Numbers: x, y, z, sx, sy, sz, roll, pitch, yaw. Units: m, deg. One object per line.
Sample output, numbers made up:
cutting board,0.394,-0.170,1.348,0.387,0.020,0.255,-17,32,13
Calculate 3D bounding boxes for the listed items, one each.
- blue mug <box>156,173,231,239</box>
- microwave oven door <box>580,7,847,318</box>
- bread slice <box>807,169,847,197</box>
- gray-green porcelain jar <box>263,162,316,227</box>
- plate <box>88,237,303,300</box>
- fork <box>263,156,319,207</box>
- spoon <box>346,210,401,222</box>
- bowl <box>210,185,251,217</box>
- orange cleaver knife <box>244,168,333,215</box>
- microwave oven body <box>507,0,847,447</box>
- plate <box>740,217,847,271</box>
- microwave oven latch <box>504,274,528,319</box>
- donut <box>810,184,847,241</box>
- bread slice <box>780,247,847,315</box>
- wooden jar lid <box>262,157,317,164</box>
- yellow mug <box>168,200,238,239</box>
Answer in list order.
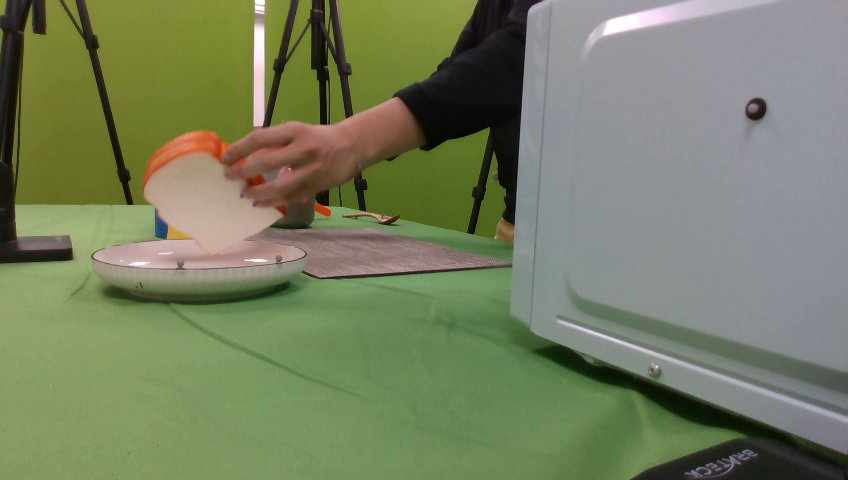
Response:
blue mug,-0.381,-0.057,1.004,0.117,0.106,0.082,0,8,-12
microwave oven door,0.295,-0.067,0.570,0.358,0.243,0.039,-3,9,-31
bread slice,0.365,-0.051,0.453,0.135,0.018,0.106,-10,1,-23
gray-green porcelain jar,-0.271,-0.092,1.217,0.106,0.126,0.106,2,7,0
plate,-0.233,0.029,0.637,0.208,0.039,0.207,2,7,0
fork,-0.331,-0.144,1.506,0.207,0.018,0.028,-42,-21,22
spoon,-0.120,-0.060,1.400,0.042,0.021,0.192,-27,25,-37
bowl,-0.408,-0.064,1.154,0.151,0.077,0.151,2,8,0
orange cleaver knife,-0.300,-0.089,1.351,0.212,0.077,0.012,28,-9,-34
microwave oven body,0.331,-0.042,0.425,0.444,0.260,0.324,-2,8,-31
plate,0.358,0.002,0.464,0.209,0.038,0.209,0,4,0
microwave oven latch,0.100,0.042,0.469,0.079,0.029,0.030,-1,7,-25
donut,0.352,-0.025,0.463,0.099,0.048,0.099,-10,4,1
bread slice,0.370,0.023,0.476,0.132,0.019,0.104,-23,11,-9
wooden jar lid,-0.269,-0.154,1.208,0.108,0.020,0.108,3,4,0
yellow mug,-0.319,-0.023,0.904,0.130,0.064,0.100,9,11,36
